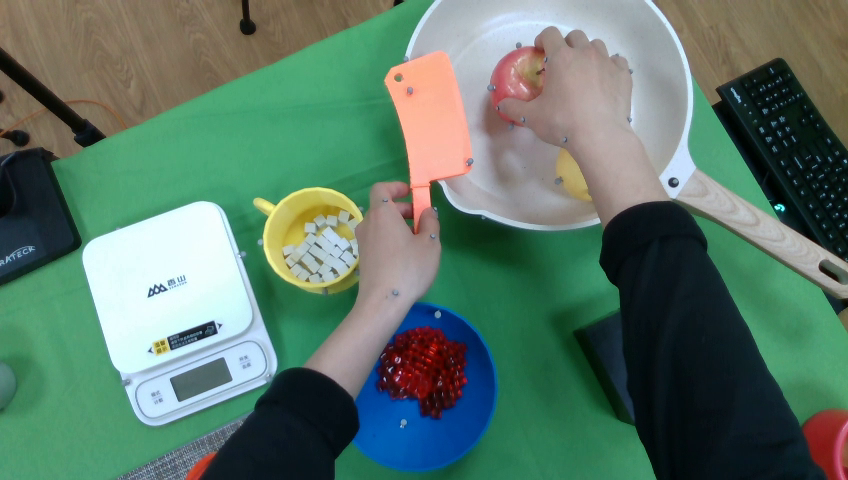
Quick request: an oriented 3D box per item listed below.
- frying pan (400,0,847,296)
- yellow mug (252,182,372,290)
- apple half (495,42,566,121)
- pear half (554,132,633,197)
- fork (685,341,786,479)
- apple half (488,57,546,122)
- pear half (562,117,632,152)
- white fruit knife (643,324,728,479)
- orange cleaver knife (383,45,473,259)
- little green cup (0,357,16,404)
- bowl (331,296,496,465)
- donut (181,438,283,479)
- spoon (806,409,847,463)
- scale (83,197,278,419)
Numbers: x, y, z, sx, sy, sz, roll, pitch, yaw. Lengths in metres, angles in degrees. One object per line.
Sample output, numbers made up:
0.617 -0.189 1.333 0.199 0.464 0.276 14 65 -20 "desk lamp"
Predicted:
0.203 -0.092 0.609 0.485 0.103 0.306 37 83 14 "frying pan"
-0.119 -0.010 0.612 0.130 0.064 0.100 31 82 6 "yellow mug"
0.116 -0.170 0.632 0.053 0.075 0.080 -41 80 -11 "apple half"
0.169 -0.075 0.599 0.076 0.110 0.056 11 80 6 "pear half"
0.314 0.185 0.583 0.028 0.018 0.208 -35 98 -8 "fork"
0.088 -0.145 0.626 0.033 0.081 0.081 -41 82 -9 "apple half"
0.178 -0.109 0.614 0.070 0.088 0.031 13 83 6 "pear half"
0.253 0.171 0.578 0.016 0.027 0.208 -27 96 -4 "white fruit knife"
0.008 -0.088 0.589 0.077 0.012 0.210 -7 81 0 "orange cleaver knife"
-0.441 0.141 0.599 0.061 0.039 0.061 0 80 0 "little green cup"
-0.009 0.132 0.584 0.151 0.077 0.151 0 80 -1 "bowl"
-0.183 0.240 0.577 0.099 0.048 0.098 0 82 1 "donut"
0.429 0.225 0.537 0.041 0.022 0.191 -31 37 -6 "spoon"
-0.247 0.066 0.616 0.149 0.031 0.200 -21 82 -3 "scale"
